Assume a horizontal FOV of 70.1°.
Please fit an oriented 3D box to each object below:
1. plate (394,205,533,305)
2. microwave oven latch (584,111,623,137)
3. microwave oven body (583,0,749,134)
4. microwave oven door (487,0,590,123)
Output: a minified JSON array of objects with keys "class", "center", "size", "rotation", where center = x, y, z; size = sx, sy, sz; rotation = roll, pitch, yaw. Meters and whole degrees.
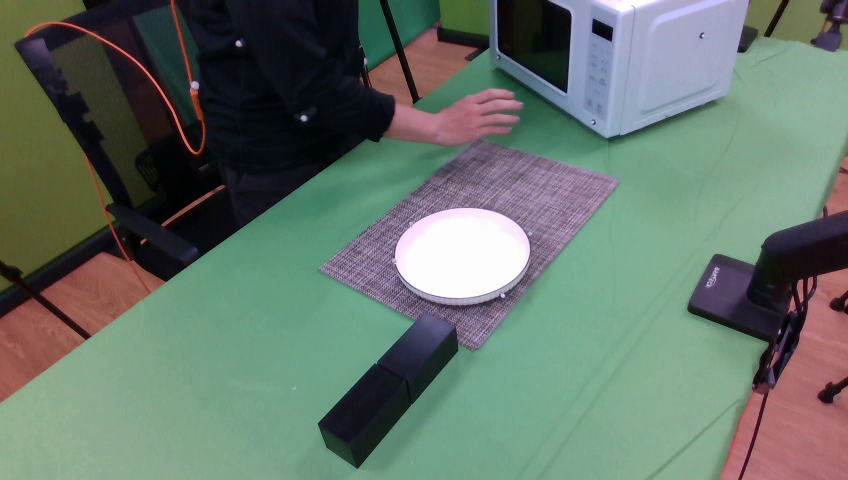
[{"class":"plate","center":[0.059,0.025,0.915],"size":[0.207,0.039,0.206],"rotation":[-4,41,4]},{"class":"microwave oven latch","center":[0.337,-0.222,1.142],"size":[0.030,0.029,0.078],"rotation":[-21,42,-14]},{"class":"microwave oven body","center":[0.382,-0.444,1.246],"size":[0.327,0.261,0.437],"rotation":[-22,42,-16]},{"class":"microwave oven door","center":[0.232,-0.420,1.231],"size":[0.039,0.245,0.352],"rotation":[-22,43,-16]}]
